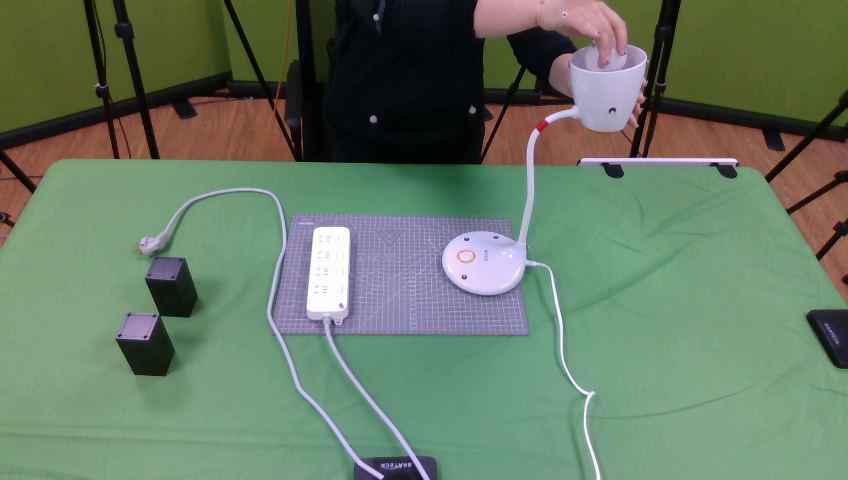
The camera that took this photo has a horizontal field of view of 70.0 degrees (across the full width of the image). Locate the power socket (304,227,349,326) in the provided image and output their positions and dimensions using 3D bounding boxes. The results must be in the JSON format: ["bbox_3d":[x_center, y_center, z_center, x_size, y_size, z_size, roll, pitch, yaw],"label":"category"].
[{"bbox_3d":[-0.177,0.059,1.115,0.072,0.033,0.225,-1,46,-4],"label":"power socket"}]

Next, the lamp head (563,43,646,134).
[{"bbox_3d":[0.274,-0.226,0.932,0.112,0.123,0.112,-1,37,1],"label":"lamp head"}]

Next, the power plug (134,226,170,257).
[{"bbox_3d":[-0.515,0.006,1.153,0.052,0.035,0.072,-6,24,6],"label":"power plug"}]

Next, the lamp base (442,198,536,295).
[{"bbox_3d":[0.130,-0.012,1.105,0.179,0.181,0.159,-1,46,-9],"label":"lamp base"}]

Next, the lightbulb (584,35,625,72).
[{"bbox_3d":[0.273,-0.255,0.917,0.059,0.108,0.059,-8,34,6],"label":"lightbulb"}]
